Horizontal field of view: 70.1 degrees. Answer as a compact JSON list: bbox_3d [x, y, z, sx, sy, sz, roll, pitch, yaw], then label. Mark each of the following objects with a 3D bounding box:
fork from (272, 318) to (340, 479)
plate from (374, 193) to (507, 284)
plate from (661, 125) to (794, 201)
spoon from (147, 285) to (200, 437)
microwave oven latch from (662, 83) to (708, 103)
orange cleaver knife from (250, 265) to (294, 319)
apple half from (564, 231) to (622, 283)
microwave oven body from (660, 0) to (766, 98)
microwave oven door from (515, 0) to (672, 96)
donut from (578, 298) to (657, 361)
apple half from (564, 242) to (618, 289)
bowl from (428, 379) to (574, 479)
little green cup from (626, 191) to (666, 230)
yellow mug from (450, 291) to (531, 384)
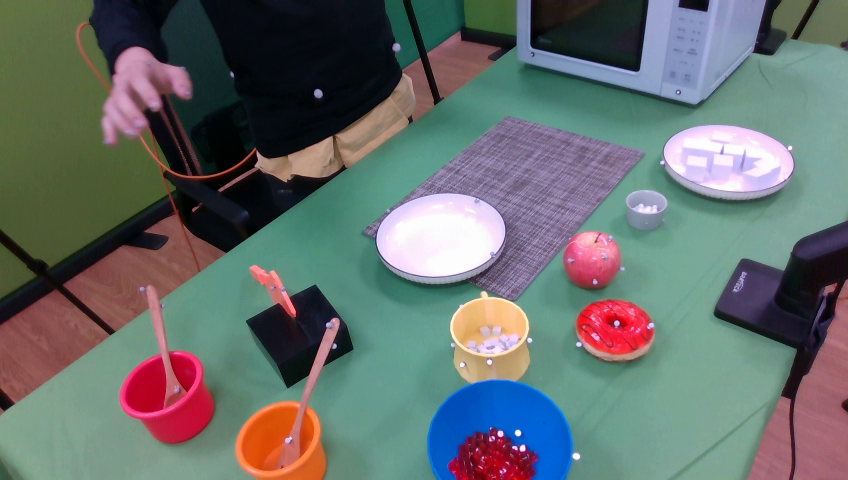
[{"bbox_3d":[-0.131,0.186,0.676,0.028,0.019,0.207,18,90,28],"label":"fork"},{"bbox_3d":[0.027,0.000,0.952,0.209,0.038,0.208,-4,40,4],"label":"plate"},{"bbox_3d":[0.513,-0.128,1.035,0.207,0.039,0.206,-4,40,4],"label":"plate"},{"bbox_3d":[-0.318,0.148,0.754,0.042,0.021,0.193,-15,85,-10],"label":"spoon"},{"bbox_3d":[0.518,-0.296,1.204,0.078,0.029,0.030,28,52,35],"label":"microwave oven latch"},{"bbox_3d":[-0.221,0.073,0.876,0.012,0.077,0.210,-24,12,-22],"label":"orange cleaver knife"},{"bbox_3d":[0.248,0.021,0.874,0.080,0.075,0.053,13,40,28],"label":"apple half"},{"bbox_3d":[0.472,-0.513,1.317,0.438,0.261,0.327,26,51,34],"label":"microwave oven body"},{"bbox_3d":[0.343,-0.454,1.259,0.353,0.245,0.039,26,51,33],"label":"microwave oven door"},{"bbox_3d":[0.250,0.115,0.786,0.099,0.048,0.098,-5,37,4],"label":"donut"},{"bbox_3d":[0.229,0.044,0.848,0.081,0.081,0.033,16,41,26],"label":"apple half"},{"bbox_3d":[0.082,0.233,0.644,0.151,0.077,0.150,-4,39,4],"label":"bowl"},{"bbox_3d":[0.352,-0.046,0.963,0.061,0.039,0.061,-4,40,4],"label":"little green cup"},{"bbox_3d":[0.085,0.120,0.786,0.100,0.064,0.130,-7,39,1],"label":"yellow mug"}]
